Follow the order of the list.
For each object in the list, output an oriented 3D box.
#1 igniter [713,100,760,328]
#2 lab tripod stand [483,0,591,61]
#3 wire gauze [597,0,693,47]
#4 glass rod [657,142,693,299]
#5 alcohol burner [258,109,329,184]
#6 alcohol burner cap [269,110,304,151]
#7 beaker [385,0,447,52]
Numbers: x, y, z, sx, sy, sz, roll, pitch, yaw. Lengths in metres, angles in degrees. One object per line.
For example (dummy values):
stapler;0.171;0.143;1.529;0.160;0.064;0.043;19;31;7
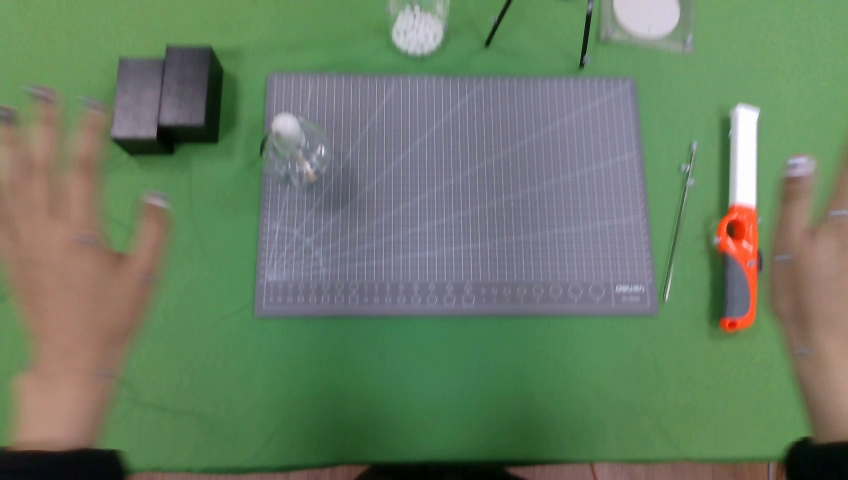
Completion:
igniter;0.365;-0.032;0.705;0.057;0.025;0.275;11;77;-10
lab tripod stand;0.143;-0.290;0.701;0.148;0.132;0.147;0;75;-1
wire gauze;0.282;-0.309;0.776;0.125;0.011;0.121;7;76;1
glass rod;0.295;-0.026;0.711;0.008;0.008;0.199;16;77;1
alcohol burner;-0.143;-0.106;0.652;0.078;0.119;0.077;0;74;-1
alcohol burner cap;-0.141;-0.113;0.617;0.034;0.048;0.033;1;78;-5
beaker;-0.008;-0.273;0.708;0.074;0.100;0.084;-44;83;-11
